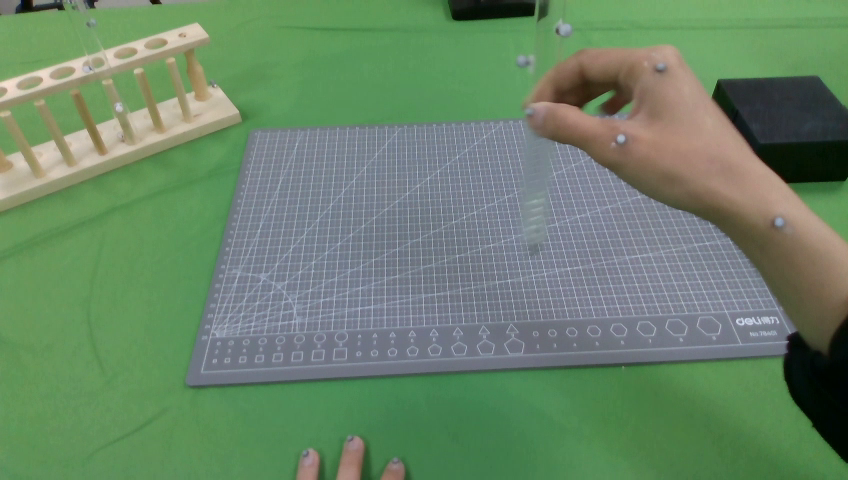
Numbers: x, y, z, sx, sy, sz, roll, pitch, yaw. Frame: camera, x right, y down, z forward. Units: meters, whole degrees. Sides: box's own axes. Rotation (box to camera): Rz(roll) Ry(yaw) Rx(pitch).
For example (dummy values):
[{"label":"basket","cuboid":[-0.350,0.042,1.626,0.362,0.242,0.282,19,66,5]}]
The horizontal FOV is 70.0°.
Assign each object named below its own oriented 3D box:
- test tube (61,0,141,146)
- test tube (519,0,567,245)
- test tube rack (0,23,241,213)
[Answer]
[{"label":"test tube","cuboid":[-0.290,-0.148,0.548,0.017,0.152,0.017,0,47,1]},{"label":"test tube","cuboid":[0.065,-0.063,0.337,0.017,0.151,0.017,-1,32,1]},{"label":"test tube rack","cuboid":[-0.312,-0.122,0.585,0.242,0.086,0.066,-27,52,-22]}]
